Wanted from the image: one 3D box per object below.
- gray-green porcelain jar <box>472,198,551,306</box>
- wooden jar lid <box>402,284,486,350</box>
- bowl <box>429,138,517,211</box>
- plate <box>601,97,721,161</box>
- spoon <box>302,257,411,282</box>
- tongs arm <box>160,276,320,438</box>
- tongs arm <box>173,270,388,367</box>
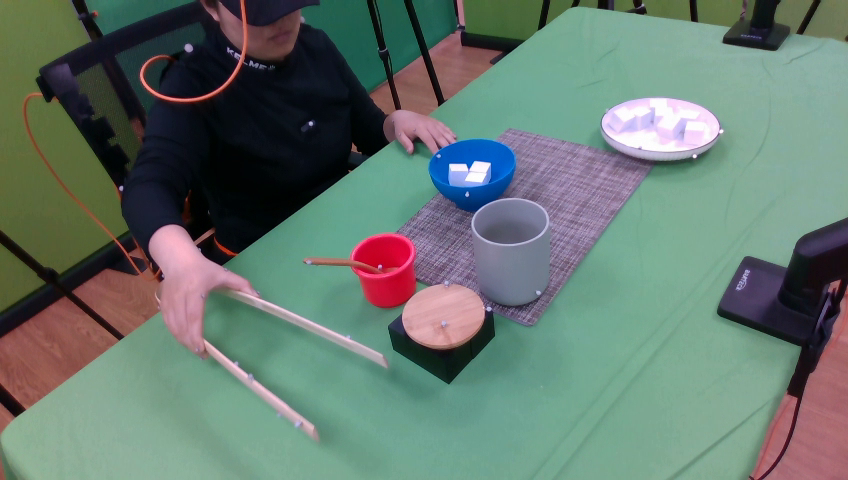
[{"bbox_3d":[0.125,0.021,0.850,0.106,0.127,0.105,-6,40,5],"label":"gray-green porcelain jar"},{"bbox_3d":[0.026,0.101,0.786,0.108,0.021,0.108,-5,39,4],"label":"wooden jar lid"},{"bbox_3d":[0.087,-0.104,1.043,0.151,0.077,0.150,-5,40,5],"label":"bowl"},{"bbox_3d":[0.436,-0.202,1.126,0.209,0.038,0.208,-5,39,5],"label":"plate"},{"bbox_3d":[-0.092,0.038,0.865,0.195,0.021,0.041,16,16,-46],"label":"spoon"},{"bbox_3d":[-0.244,0.136,0.779,0.381,0.027,0.051,23,53,36],"label":"tongs arm"},{"bbox_3d":[-0.205,0.099,0.812,0.384,0.028,0.028,16,52,31],"label":"tongs arm"}]
